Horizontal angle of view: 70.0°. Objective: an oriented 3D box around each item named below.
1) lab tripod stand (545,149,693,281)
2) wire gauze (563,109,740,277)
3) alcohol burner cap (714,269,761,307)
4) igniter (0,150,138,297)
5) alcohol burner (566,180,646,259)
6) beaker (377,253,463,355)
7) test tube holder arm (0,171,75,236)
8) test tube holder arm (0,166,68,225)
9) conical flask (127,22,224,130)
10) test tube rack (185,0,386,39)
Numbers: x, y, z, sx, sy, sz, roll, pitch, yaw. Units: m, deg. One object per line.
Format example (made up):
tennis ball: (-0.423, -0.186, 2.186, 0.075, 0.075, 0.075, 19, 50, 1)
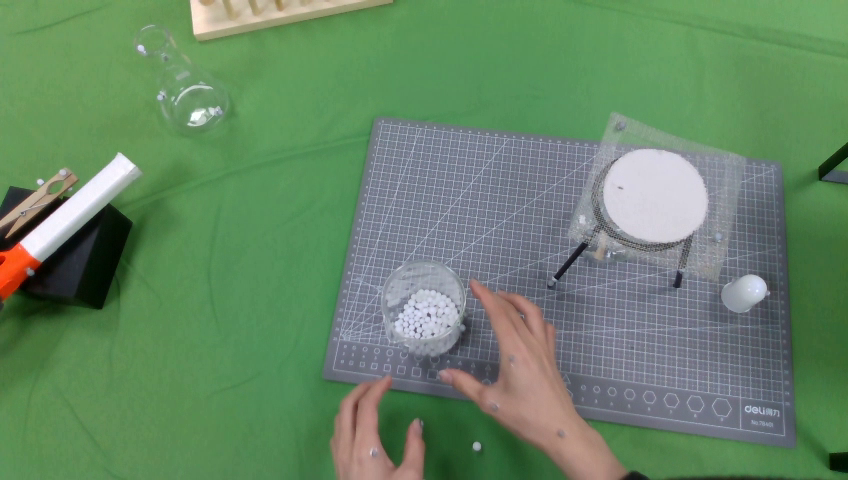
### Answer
lab tripod stand: (0.187, -0.014, 0.568, 0.148, 0.132, 0.147, 0, 69, 0)
wire gauze: (0.192, -0.041, 0.505, 0.121, 0.011, 0.124, 20, 73, 7)
alcohol burner cap: (0.309, 0.044, 0.592, 0.034, 0.048, 0.033, -1, 70, 2)
igniter: (-0.392, 0.017, 0.581, 0.057, 0.025, 0.276, 36, 74, 23)
alcohol burner: (0.179, -0.026, 0.582, 0.078, 0.120, 0.077, 0, 69, 0)
beaker: (-0.004, 0.067, 0.562, 0.073, 0.101, 0.084, 37, 75, 14)
test tube holder arm: (-0.386, -0.036, 0.602, 0.088, 0.015, 0.010, -44, 105, -13)
test tube holder arm: (-0.421, -0.009, 0.590, 0.178, 0.015, 0.013, -44, 105, -13)
conical flask: (-0.270, -0.178, 0.647, 0.075, 0.122, 0.075, -1, 69, 2)
test tube rack: (-0.171, -0.314, 0.713, 0.242, 0.086, 0.066, -13, 70, -3)
